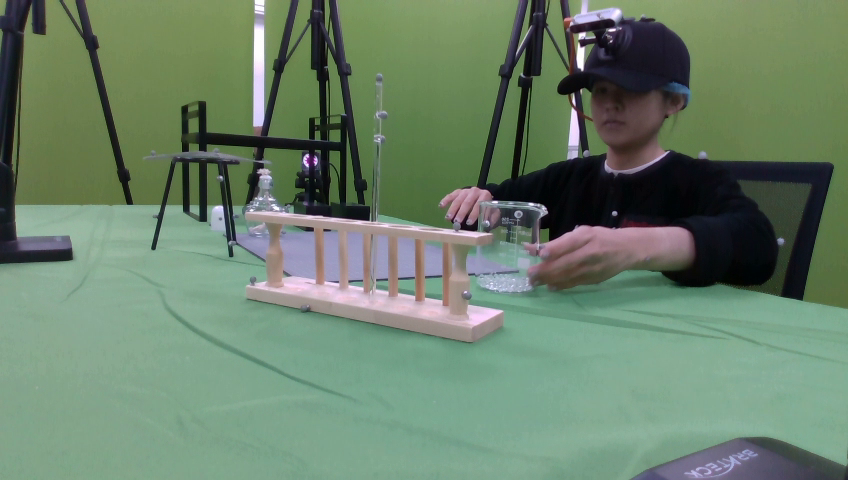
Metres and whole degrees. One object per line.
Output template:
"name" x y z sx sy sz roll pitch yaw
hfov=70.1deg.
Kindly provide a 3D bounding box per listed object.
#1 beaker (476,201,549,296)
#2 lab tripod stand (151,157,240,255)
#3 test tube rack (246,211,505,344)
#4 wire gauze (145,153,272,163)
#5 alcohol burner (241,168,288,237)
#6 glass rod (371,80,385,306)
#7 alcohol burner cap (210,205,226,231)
"beaker" 0.098 0.009 0.681 0.083 0.100 0.074 8 9 32
"lab tripod stand" -0.310 -0.052 0.866 0.148 0.131 0.148 2 6 0
"test tube rack" -0.049 0.025 0.547 0.241 0.085 0.067 7 8 29
"wire gauze" -0.303 -0.117 0.854 0.121 0.011 0.126 7 8 34
"alcohol burner" -0.272 -0.064 1.036 0.078 0.119 0.078 4 5 0
"glass rod" -0.040 -0.039 0.530 0.008 0.199 0.008 2 2 0
"alcohol burner cap" -0.376 -0.040 1.107 0.034 0.048 0.034 2 7 0
